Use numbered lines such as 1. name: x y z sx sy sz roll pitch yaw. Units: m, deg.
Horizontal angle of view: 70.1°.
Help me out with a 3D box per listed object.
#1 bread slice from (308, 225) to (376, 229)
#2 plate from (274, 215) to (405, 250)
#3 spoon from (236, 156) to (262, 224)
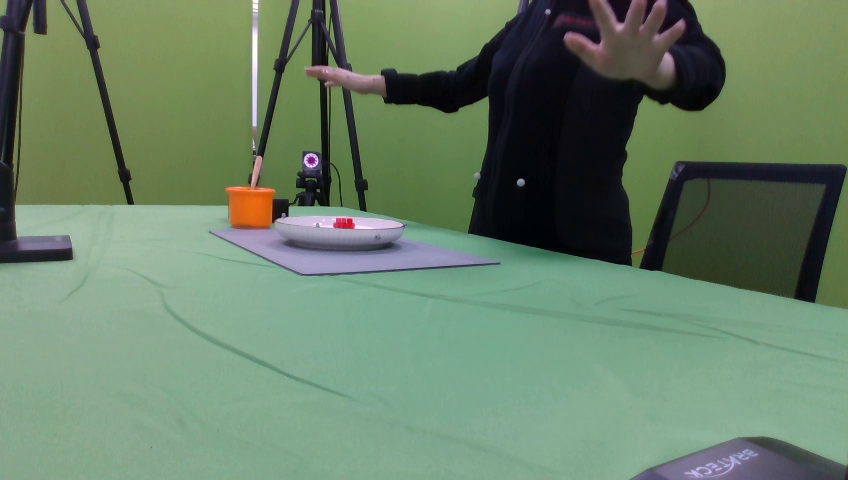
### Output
1. bread slice: -0.133 -0.011 0.974 0.135 0.018 0.106 -3 8 -33
2. plate: -0.136 -0.013 0.981 0.209 0.038 0.209 2 7 0
3. spoon: -0.338 -0.102 1.197 0.042 0.193 0.021 1 -37 -4
